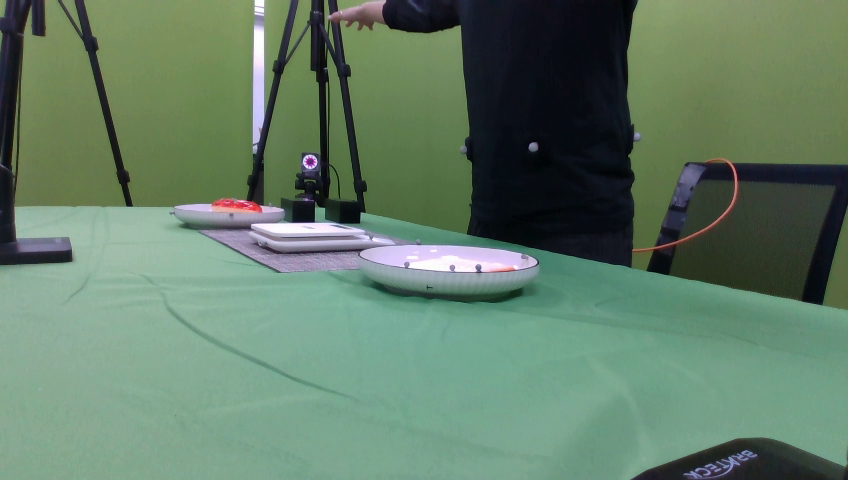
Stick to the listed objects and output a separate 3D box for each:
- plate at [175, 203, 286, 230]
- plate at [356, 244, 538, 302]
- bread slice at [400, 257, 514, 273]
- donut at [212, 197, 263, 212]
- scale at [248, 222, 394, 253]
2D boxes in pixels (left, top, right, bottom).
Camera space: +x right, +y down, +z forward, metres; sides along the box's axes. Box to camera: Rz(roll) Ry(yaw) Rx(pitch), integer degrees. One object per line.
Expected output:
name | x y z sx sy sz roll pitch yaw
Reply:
plate | -0.380 -0.047 1.199 0.208 0.039 0.207 3 7 0
plate | 0.025 0.036 0.693 0.209 0.038 0.209 3 7 0
bread slice | 0.029 0.038 0.689 0.104 0.019 0.132 8 10 37
donut | -0.376 -0.061 1.220 0.099 0.048 0.099 5 4 0
scale | -0.162 -0.006 0.954 0.202 0.031 0.148 -1 9 -32
